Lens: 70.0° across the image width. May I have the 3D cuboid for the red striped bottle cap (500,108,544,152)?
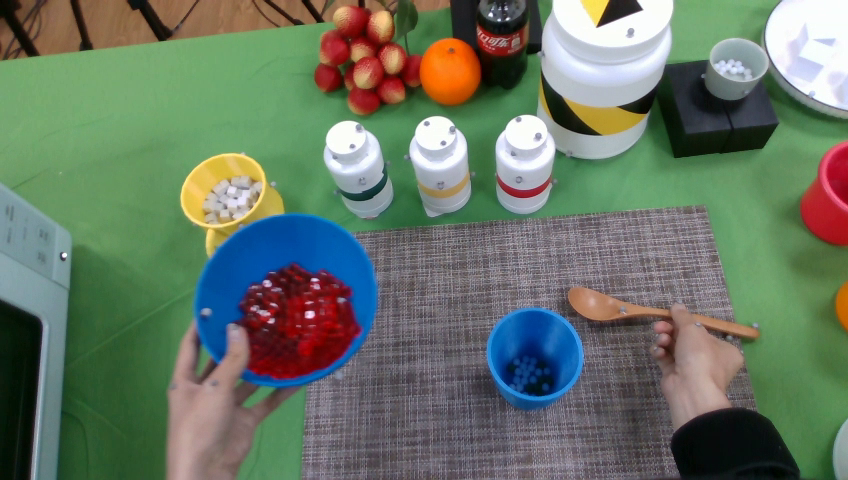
[{"bbox_3d":[0.101,-0.113,0.619,0.044,0.018,0.044,-1,63,2],"label":"red striped bottle cap"}]

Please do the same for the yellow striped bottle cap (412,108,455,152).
[{"bbox_3d":[0.010,-0.115,0.631,0.044,0.019,0.044,-2,66,5],"label":"yellow striped bottle cap"}]

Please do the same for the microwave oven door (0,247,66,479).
[{"bbox_3d":[-0.411,0.158,0.524,0.039,0.246,0.352,-13,64,1],"label":"microwave oven door"}]

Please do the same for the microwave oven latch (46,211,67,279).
[{"bbox_3d":[-0.440,0.008,0.710,0.030,0.030,0.078,-11,65,1],"label":"microwave oven latch"}]

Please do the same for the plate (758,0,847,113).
[{"bbox_3d":[0.510,-0.233,0.730,0.209,0.038,0.207,-2,65,6],"label":"plate"}]

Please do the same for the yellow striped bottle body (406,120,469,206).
[{"bbox_3d":[0.016,-0.093,0.678,0.063,0.121,0.062,-3,65,7],"label":"yellow striped bottle body"}]

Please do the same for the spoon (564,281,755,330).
[{"bbox_3d":[0.242,0.071,0.626,0.193,0.022,0.041,8,41,10],"label":"spoon"}]

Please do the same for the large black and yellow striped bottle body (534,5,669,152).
[{"bbox_3d":[0.192,-0.198,0.671,0.130,0.185,0.129,-3,65,6],"label":"large black and yellow striped bottle body"}]

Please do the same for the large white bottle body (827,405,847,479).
[{"bbox_3d":[0.426,0.166,0.473,0.130,0.186,0.129,-3,64,6],"label":"large white bottle body"}]

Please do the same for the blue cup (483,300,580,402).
[{"bbox_3d":[0.100,0.115,0.578,0.092,0.101,0.092,-3,64,6],"label":"blue cup"}]

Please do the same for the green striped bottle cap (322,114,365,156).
[{"bbox_3d":[-0.085,-0.111,0.641,0.044,0.020,0.044,-2,64,5],"label":"green striped bottle cap"}]

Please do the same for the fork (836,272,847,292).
[{"bbox_3d":[0.476,0.060,0.537,0.028,0.019,0.206,-37,22,-16],"label":"fork"}]

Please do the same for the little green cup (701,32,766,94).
[{"bbox_3d":[0.342,-0.196,0.676,0.061,0.039,0.061,-2,64,4],"label":"little green cup"}]

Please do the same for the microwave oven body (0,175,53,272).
[{"bbox_3d":[-0.560,0.155,0.549,0.326,0.262,0.437,-13,65,0],"label":"microwave oven body"}]

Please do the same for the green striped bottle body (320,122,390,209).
[{"bbox_3d":[-0.078,-0.089,0.688,0.063,0.120,0.062,-3,64,6],"label":"green striped bottle body"}]

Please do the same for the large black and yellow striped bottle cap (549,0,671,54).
[{"bbox_3d":[0.181,-0.232,0.594,0.115,0.019,0.114,-3,64,6],"label":"large black and yellow striped bottle cap"}]

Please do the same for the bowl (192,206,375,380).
[{"bbox_3d":[-0.114,0.054,0.533,0.151,0.077,0.150,0,68,1],"label":"bowl"}]

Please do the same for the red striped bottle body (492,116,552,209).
[{"bbox_3d":[0.109,-0.090,0.666,0.063,0.121,0.062,-5,63,9],"label":"red striped bottle body"}]

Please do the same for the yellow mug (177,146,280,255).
[{"bbox_3d":[-0.232,-0.038,0.712,0.100,0.064,0.130,5,67,8],"label":"yellow mug"}]
